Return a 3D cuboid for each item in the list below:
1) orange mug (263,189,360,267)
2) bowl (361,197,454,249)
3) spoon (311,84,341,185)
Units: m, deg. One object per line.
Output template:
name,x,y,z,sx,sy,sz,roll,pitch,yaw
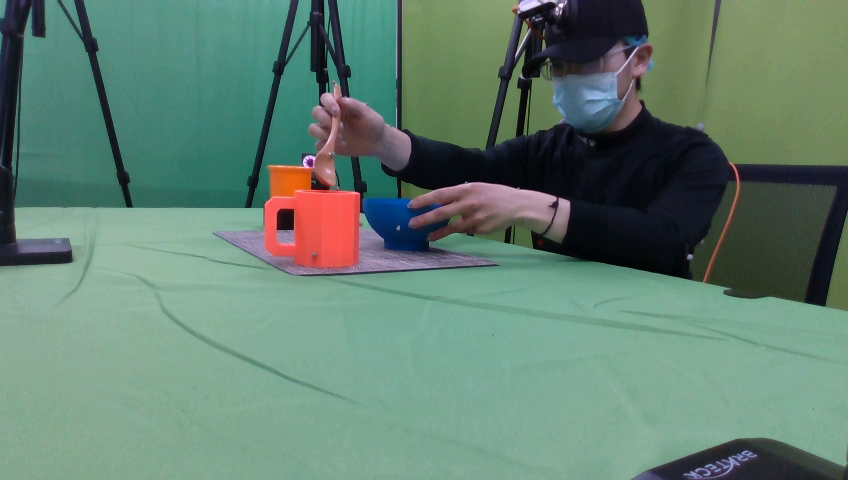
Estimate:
orange mug,-0.147,-0.019,0.794,0.127,0.100,0.083,5,6,-20
bowl,-0.028,-0.028,0.984,0.151,0.077,0.151,2,7,0
spoon,-0.131,-0.153,0.855,0.021,0.193,0.042,-21,-41,34
